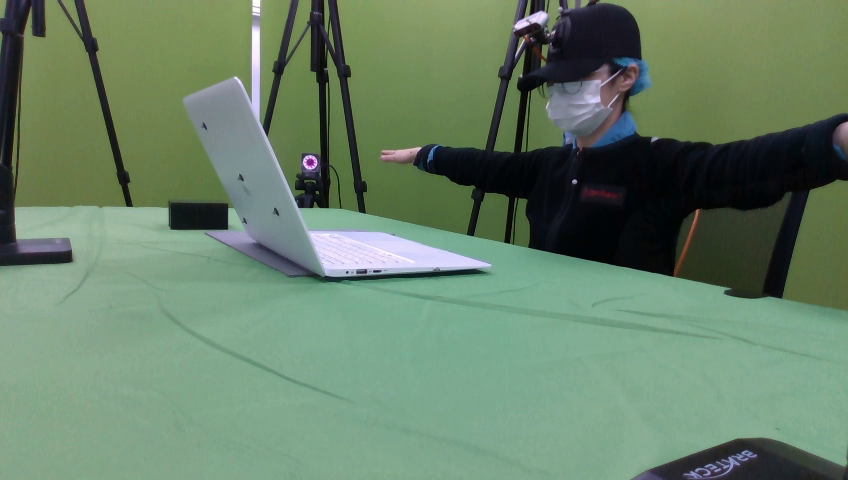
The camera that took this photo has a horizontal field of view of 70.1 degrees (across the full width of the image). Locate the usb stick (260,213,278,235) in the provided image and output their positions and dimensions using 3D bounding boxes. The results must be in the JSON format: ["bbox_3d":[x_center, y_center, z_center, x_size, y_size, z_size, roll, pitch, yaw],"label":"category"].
[{"bbox_3d":[-0.260,-0.025,1.016,0.021,0.027,0.059,1,19,-27],"label":"usb stick"}]

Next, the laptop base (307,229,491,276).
[{"bbox_3d":[-0.094,0.015,0.888,0.237,0.023,0.352,2,7,-30],"label":"laptop base"}]

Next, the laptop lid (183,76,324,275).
[{"bbox_3d":[-0.237,-0.085,0.791,0.013,0.242,0.355,-30,23,-23],"label":"laptop lid"}]
